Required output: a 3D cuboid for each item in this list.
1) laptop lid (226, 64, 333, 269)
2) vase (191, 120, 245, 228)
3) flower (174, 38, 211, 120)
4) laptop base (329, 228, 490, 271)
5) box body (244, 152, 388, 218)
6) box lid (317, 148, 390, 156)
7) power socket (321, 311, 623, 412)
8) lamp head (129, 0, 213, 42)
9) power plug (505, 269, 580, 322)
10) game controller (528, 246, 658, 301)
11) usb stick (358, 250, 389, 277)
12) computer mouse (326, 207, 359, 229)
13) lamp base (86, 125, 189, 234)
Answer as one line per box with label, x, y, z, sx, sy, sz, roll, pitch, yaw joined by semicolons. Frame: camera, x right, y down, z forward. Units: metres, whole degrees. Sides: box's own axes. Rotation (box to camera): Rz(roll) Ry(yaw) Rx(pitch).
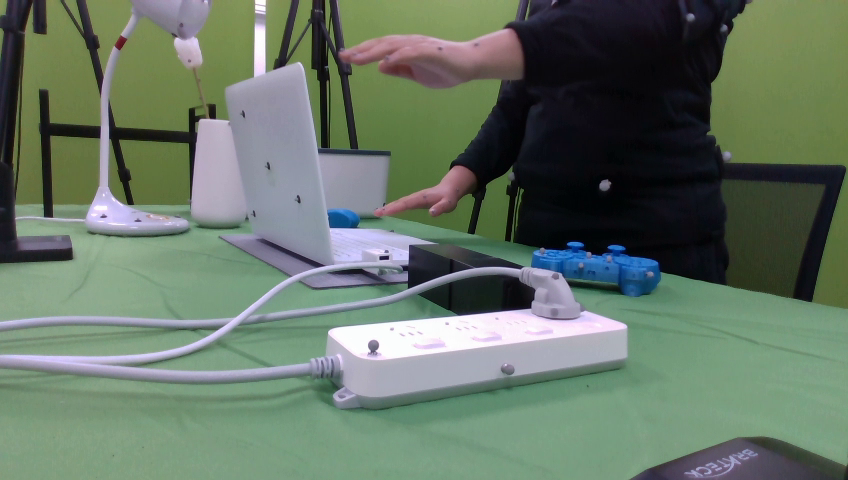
laptop lid;-0.209;-0.101;0.824;0.013;0.241;0.355;-14;16;-29
vase;-0.389;-0.124;1.143;0.098;0.200;0.098;3;9;0
flower;-0.401;-0.207;1.141;0.038;0.361;0.044;-14;3;44
laptop base;-0.096;0.011;0.912;0.237;0.023;0.352;2;6;-32
box body;-0.297;-0.144;1.475;0.366;0.160;0.253;-1;9;-30
box lid;-0.295;-0.217;1.463;0.373;0.015;0.262;-1;8;-29
power socket;0.039;0.075;0.409;0.228;0.032;0.072;-2;8;-28
lamp head;-0.423;-0.394;0.980;0.123;0.112;0.112;20;7;-3
power plug;0.092;0.051;0.470;0.035;0.052;0.072;-1;6;-15
game controller;0.202;0.037;0.733;0.155;0.051;0.097;5;10;19
usb stick;-0.062;0.026;0.708;0.021;0.027;0.059;-4;5;-28
computer mouse;-0.194;-0.046;1.241;0.117;0.041;0.063;0;10;12
lamp base;-0.497;-0.105;1.027;0.179;0.180;0.160;1;7;2
